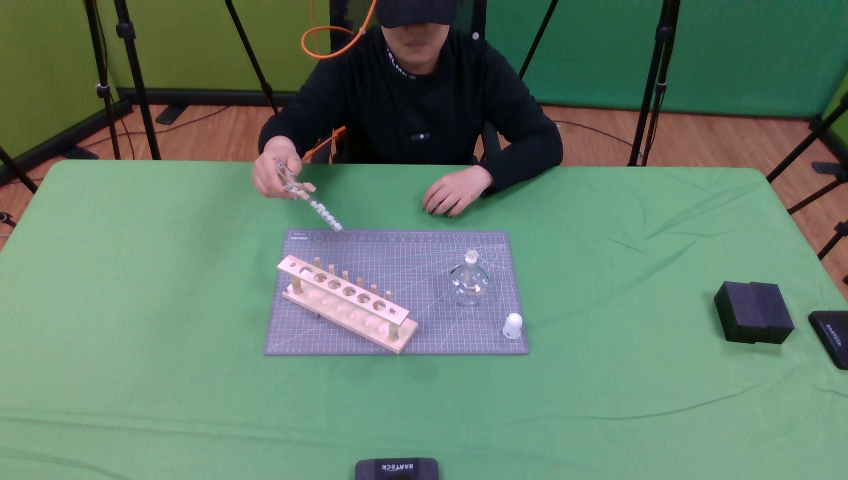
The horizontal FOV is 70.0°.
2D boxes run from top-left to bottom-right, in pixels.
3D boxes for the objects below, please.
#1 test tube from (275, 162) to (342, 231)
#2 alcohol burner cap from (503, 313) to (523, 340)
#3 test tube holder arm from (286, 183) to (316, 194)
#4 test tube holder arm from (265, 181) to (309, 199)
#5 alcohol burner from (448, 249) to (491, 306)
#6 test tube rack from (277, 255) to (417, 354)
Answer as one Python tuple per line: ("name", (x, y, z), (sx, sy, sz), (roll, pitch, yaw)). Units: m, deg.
("test tube", (-0.172, -0.063, 0.918), (0.017, 0.151, 0.017), (-23, 41, 21))
("alcohol burner cap", (0.156, 0.148, 1.051), (0.034, 0.048, 0.033), (1, 45, -1))
("test tube holder arm", (-0.192, -0.079, 0.927), (0.010, 0.015, 0.087), (-48, 30, -24))
("test tube holder arm", (-0.221, -0.081, 0.962), (0.013, 0.015, 0.177), (-44, 29, -20))
("alcohol burner", (0.081, 0.062, 1.078), (0.078, 0.120, 0.077), (1, 45, -1))
("test tube rack", (-0.131, 0.099, 1.045), (0.241, 0.085, 0.066), (23, 49, 17))
